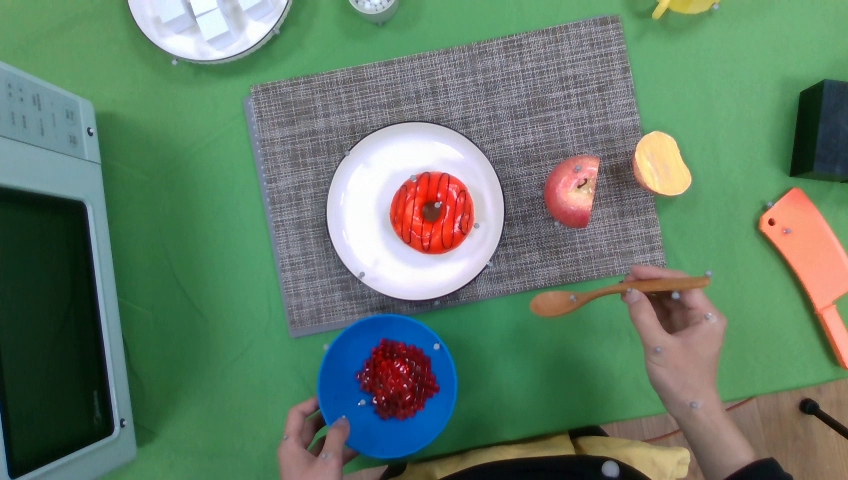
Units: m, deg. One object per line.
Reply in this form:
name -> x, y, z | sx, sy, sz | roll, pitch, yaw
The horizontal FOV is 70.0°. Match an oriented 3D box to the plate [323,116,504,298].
plate -> -0.012, -0.037, 0.704 | 0.209, 0.038, 0.209 | 0, 89, 4

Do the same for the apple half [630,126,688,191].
apple half -> 0.257, -0.087, 0.687 | 0.082, 0.033, 0.081 | 9, 69, -24

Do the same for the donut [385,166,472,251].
donut -> 0.006, -0.036, 0.692 | 0.099, 0.048, 0.099 | 0, 91, 4

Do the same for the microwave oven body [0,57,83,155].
microwave oven body -> -0.540, 0.056, 0.626 | 0.326, 0.260, 0.441 | -9, 89, 3

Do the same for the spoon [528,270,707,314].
spoon -> 0.175, 0.048, 0.578 | 0.041, 0.193, 0.022 | -39, 100, -36

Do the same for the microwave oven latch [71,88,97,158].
microwave oven latch -> -0.412, -0.136, 0.718 | 0.030, 0.029, 0.079 | -8, 89, 3

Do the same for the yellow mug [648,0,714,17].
yellow mug -> 0.296, -0.307, 0.679 | 0.100, 0.064, 0.131 | 37, 92, 4

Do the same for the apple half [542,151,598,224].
apple half -> 0.159, -0.059, 0.676 | 0.053, 0.075, 0.081 | 8, 93, 8

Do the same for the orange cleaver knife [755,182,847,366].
orange cleaver knife -> 0.449, 0.037, 0.685 | 0.077, 0.012, 0.211 | -26, 86, -1

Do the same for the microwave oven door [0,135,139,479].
microwave oven door -> -0.390, 0.077, 0.610 | 0.039, 0.244, 0.355 | -9, 88, 4

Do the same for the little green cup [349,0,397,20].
little green cup -> -0.060, -0.293, 0.717 | 0.061, 0.038, 0.061 | 0, 88, 4

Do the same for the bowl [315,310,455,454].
bowl -> -0.040, 0.154, 0.678 | 0.151, 0.077, 0.151 | 0, 84, 2

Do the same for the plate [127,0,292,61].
plate -> -0.253, -0.315, 0.730 | 0.207, 0.039, 0.207 | 0, 89, 4
